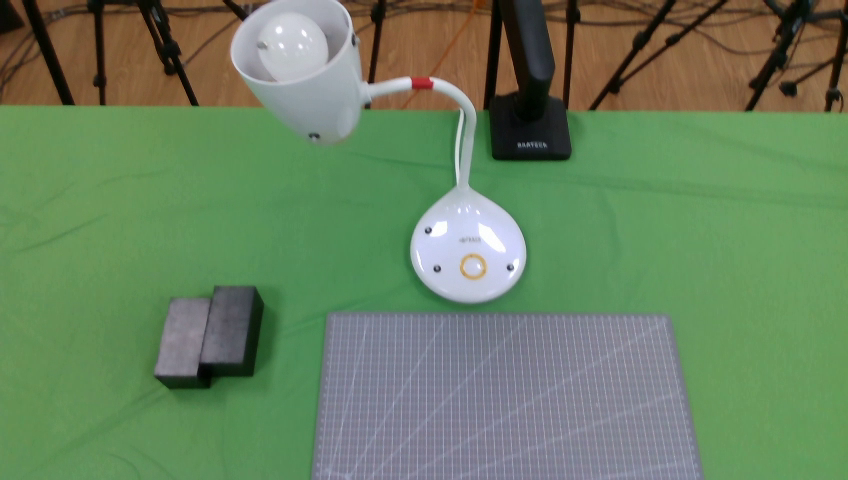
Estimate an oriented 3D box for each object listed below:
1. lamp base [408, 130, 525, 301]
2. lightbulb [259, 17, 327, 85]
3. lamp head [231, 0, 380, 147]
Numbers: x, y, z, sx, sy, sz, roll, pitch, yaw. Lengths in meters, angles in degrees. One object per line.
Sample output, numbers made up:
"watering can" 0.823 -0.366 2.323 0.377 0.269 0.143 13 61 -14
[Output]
"lamp base" 0.055 -0.039 0.772 0.161 0.182 0.177 -12 58 -7
"lightbulb" -0.113 -0.157 0.560 0.059 0.108 0.059 -3 65 7
"lamp head" -0.104 -0.150 0.583 0.112 0.124 0.111 -7 60 13
